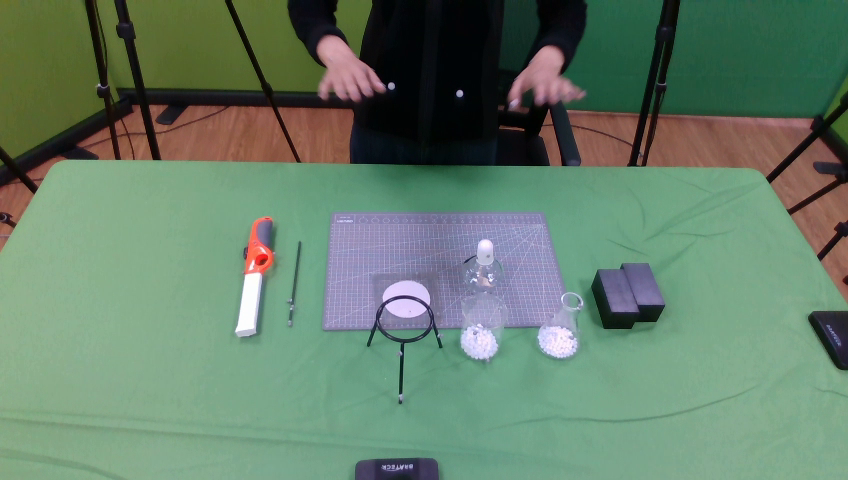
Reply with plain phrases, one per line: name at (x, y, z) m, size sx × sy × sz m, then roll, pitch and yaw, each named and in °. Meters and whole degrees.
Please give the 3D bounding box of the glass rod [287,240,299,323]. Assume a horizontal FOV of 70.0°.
glass rod at (-0.242, 0.072, 1.120) m, size 0.008 × 0.008 × 0.198 m, roll -1°, pitch 47°, yaw -5°

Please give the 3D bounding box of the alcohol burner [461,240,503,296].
alcohol burner at (0.106, 0.045, 1.098) m, size 0.078 × 0.120 × 0.077 m, roll 1°, pitch 44°, yaw -1°

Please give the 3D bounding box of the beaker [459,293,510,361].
beaker at (0.094, 0.147, 1.012) m, size 0.083 × 0.101 × 0.074 m, roll 26°, pitch 49°, yaw 21°

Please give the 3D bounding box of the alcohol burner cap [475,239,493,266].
alcohol burner cap at (0.107, 0.020, 1.071) m, size 0.034 × 0.048 × 0.033 m, roll -2°, pitch 46°, yaw 2°

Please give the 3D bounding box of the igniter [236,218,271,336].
igniter at (-0.312, 0.058, 1.115) m, size 0.057 × 0.025 × 0.274 m, roll -9°, pitch 46°, yaw 1°

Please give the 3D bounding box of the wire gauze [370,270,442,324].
wire gauze at (-0.035, 0.104, 1.103) m, size 0.125 × 0.011 × 0.120 m, roll -3°, pitch 46°, yaw -4°

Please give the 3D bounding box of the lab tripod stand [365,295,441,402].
lab tripod stand at (-0.031, 0.160, 0.966) m, size 0.148 × 0.132 × 0.147 m, roll 3°, pitch 44°, yaw -2°

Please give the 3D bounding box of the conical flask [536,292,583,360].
conical flask at (0.234, 0.139, 1.015) m, size 0.075 × 0.122 × 0.075 m, roll 2°, pitch 46°, yaw -2°
